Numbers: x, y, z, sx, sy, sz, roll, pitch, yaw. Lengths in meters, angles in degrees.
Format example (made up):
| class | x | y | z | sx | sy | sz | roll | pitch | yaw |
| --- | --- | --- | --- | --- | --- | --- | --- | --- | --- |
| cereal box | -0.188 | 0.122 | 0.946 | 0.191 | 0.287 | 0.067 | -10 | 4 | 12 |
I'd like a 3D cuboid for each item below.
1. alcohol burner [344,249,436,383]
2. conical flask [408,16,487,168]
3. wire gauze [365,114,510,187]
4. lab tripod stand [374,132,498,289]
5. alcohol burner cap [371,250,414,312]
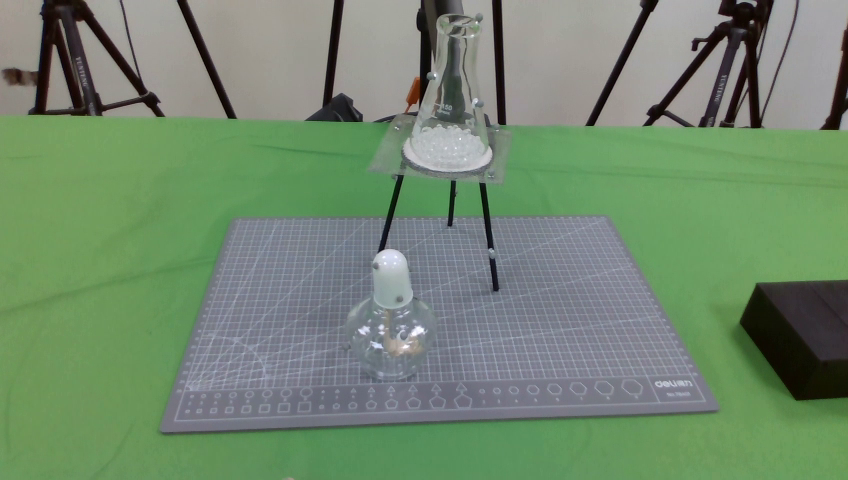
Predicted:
| class | x | y | z | sx | sy | sz | roll | pitch | yaw |
| --- | --- | --- | --- | --- | --- | --- | --- | --- | --- |
| alcohol burner | -0.028 | 0.059 | 0.500 | 0.078 | 0.120 | 0.077 | 2 | 34 | -1 |
| conical flask | 0.024 | -0.132 | 0.538 | 0.075 | 0.123 | 0.074 | 3 | 36 | -2 |
| wire gauze | 0.018 | -0.085 | 0.575 | 0.121 | 0.011 | 0.124 | 8 | 38 | 7 |
| lab tripod stand | 0.022 | -0.031 | 0.613 | 0.148 | 0.132 | 0.147 | 4 | 35 | -2 |
| alcohol burner cap | -0.026 | 0.030 | 0.478 | 0.034 | 0.048 | 0.033 | -3 | 39 | 3 |
